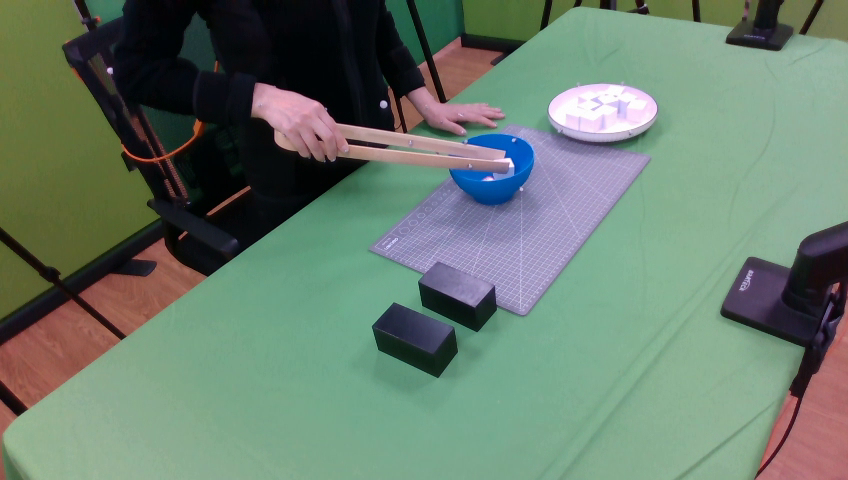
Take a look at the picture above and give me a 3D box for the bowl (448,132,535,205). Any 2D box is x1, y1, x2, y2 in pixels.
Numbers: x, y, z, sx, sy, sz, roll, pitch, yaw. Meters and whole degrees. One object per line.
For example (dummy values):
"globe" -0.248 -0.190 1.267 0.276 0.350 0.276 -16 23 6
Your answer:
"bowl" 0.119 -0.115 1.051 0.151 0.077 0.150 -6 40 5

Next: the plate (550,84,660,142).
"plate" 0.355 -0.246 1.195 0.207 0.039 0.206 -5 39 5

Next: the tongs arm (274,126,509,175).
"tongs arm" -0.049 -0.142 0.987 0.389 0.028 0.028 6 48 -10

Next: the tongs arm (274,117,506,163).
"tongs arm" -0.050 -0.158 1.004 0.386 0.026 0.050 9 44 -7
